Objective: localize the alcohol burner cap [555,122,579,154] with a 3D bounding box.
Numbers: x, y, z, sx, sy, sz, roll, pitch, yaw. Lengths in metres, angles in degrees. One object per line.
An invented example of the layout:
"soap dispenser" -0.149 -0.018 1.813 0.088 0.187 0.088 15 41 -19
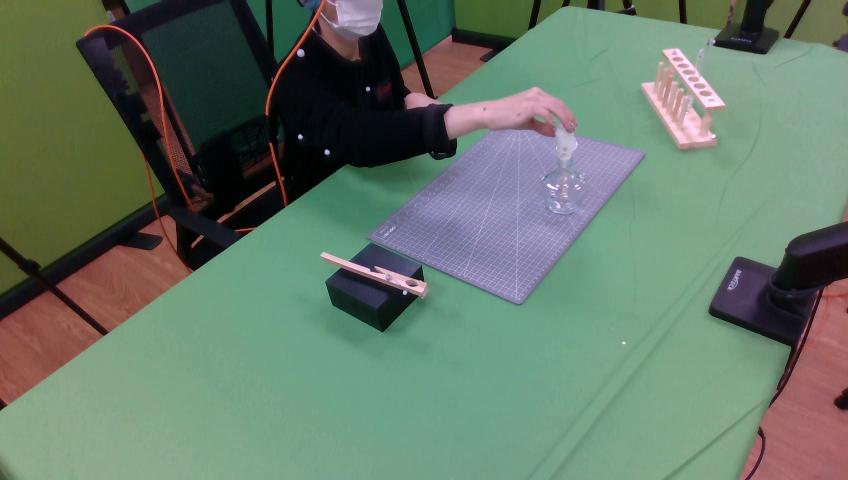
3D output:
"alcohol burner cap" 0.215 -0.157 0.919 0.034 0.048 0.033 -13 46 14

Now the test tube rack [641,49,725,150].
"test tube rack" 0.495 -0.279 1.175 0.067 0.085 0.241 -5 41 3

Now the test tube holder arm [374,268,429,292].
"test tube holder arm" -0.034 0.056 0.840 0.087 0.015 0.010 14 49 25

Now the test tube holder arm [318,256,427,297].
"test tube holder arm" -0.076 0.050 0.855 0.177 0.015 0.013 13 49 24

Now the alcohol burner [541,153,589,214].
"alcohol burner" 0.229 -0.102 0.983 0.078 0.119 0.077 -6 41 5

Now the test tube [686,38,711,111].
"test tube" 0.508 -0.305 1.128 0.017 0.151 0.017 -2 46 3
